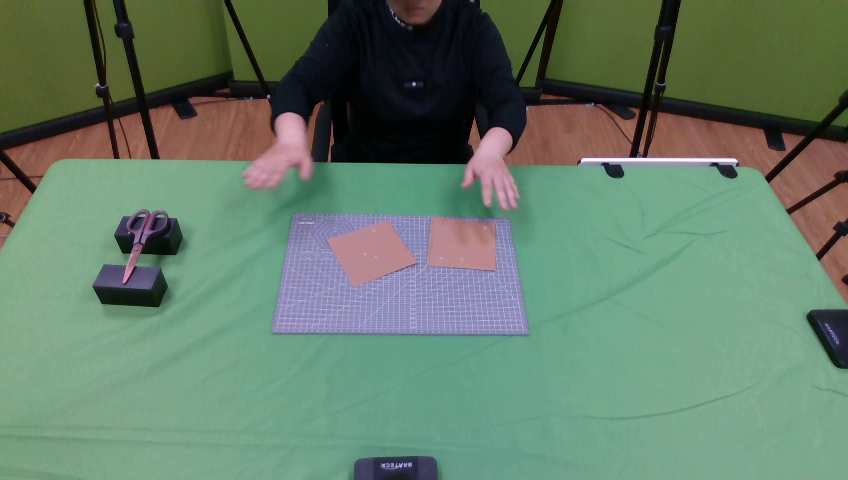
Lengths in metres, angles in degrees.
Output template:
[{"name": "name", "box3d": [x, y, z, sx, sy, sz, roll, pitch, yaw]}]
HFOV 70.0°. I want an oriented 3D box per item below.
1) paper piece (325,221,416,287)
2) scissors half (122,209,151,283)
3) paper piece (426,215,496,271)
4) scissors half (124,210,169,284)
[{"name": "paper piece", "box3d": [-0.105, 0.022, 1.174, 0.135, 0.004, 0.135, -19, 50, -21]}, {"name": "scissors half", "box3d": [-0.521, 0.009, 1.085, 0.040, 0.013, 0.174, 0, 48, -14]}, {"name": "paper piece", "box3d": [0.075, 0.006, 1.204, 0.138, 0.009, 0.135, 6, 49, 1]}, {"name": "scissors half", "box3d": [-0.501, 0.010, 1.088, 0.040, 0.013, 0.174, 8, 48, 1]}]
